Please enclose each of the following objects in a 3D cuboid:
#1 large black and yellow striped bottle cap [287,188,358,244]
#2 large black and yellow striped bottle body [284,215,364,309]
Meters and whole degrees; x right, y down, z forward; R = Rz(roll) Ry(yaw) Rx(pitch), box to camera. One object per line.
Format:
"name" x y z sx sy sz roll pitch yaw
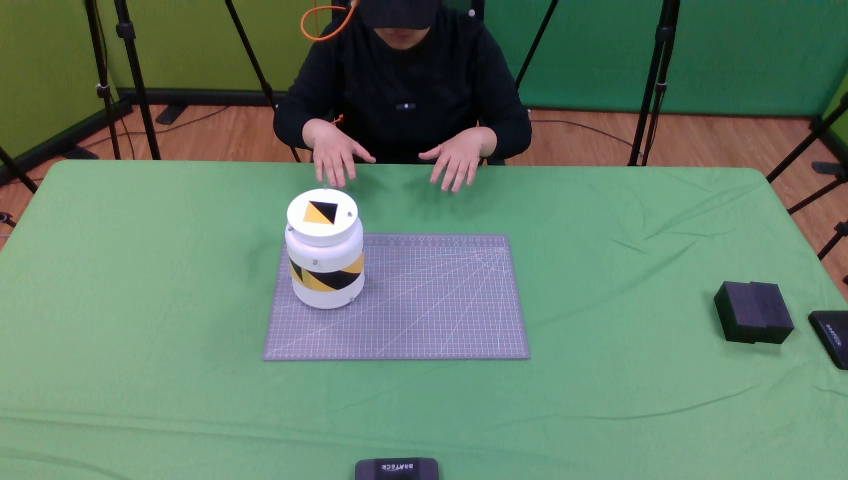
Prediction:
"large black and yellow striped bottle cap" -0.166 -0.041 0.991 0.115 0.019 0.114 2 46 -1
"large black and yellow striped bottle body" -0.171 0.017 1.052 0.131 0.185 0.130 2 46 -2
